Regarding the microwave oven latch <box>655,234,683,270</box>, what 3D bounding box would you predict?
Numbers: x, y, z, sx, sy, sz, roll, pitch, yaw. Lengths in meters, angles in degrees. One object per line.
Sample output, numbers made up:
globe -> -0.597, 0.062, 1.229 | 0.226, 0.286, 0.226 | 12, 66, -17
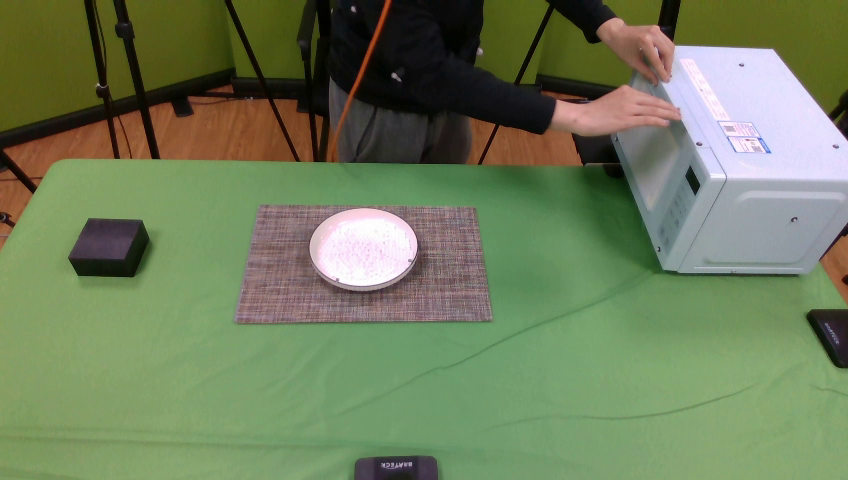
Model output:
microwave oven latch -> 0.473, 0.021, 1.175 | 0.030, 0.029, 0.078 | 2, 46, -1

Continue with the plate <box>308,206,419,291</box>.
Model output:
plate -> -0.115, 0.019, 1.153 | 0.209, 0.038, 0.208 | 2, 47, -2

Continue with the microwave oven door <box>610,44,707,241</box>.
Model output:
microwave oven door -> 0.473, -0.207, 1.250 | 0.039, 0.245, 0.353 | 0, 47, -3

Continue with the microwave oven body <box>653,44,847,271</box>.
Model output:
microwave oven body -> 0.620, -0.172, 1.234 | 0.326, 0.261, 0.439 | 0, 46, -3
